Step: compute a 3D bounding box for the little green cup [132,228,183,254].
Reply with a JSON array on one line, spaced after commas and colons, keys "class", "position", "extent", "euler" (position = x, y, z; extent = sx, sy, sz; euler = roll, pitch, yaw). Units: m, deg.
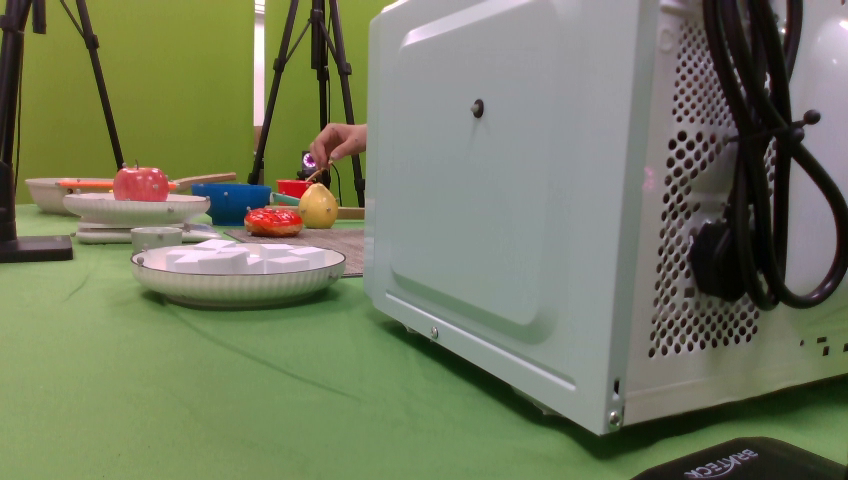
[{"class": "little green cup", "position": [-0.342, 0.006, 0.779], "extent": [0.061, 0.038, 0.061], "euler": [2, 8, 0]}]

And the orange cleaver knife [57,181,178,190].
[{"class": "orange cleaver knife", "position": [-0.600, -0.109, 1.189], "extent": [0.212, 0.012, 0.077], "euler": [-1, 11, -26]}]

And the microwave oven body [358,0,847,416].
[{"class": "microwave oven body", "position": [0.211, -0.047, 0.474], "extent": [0.444, 0.260, 0.324], "euler": [-1, 7, -28]}]

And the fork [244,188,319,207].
[{"class": "fork", "position": [-0.356, -0.105, 1.526], "extent": [0.208, 0.018, 0.028], "euler": [16, -5, -41]}]

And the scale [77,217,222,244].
[{"class": "scale", "position": [-0.434, -0.018, 0.963], "extent": [0.202, 0.031, 0.148], "euler": [-1, 8, -27]}]

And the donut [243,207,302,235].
[{"class": "donut", "position": [-0.261, -0.032, 1.043], "extent": [0.099, 0.048, 0.099], "euler": [4, 9, 0]}]

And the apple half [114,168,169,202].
[{"class": "apple half", "position": [-0.445, -0.075, 0.938], "extent": [0.081, 0.074, 0.053], "euler": [6, 11, 8]}]

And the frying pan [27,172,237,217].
[{"class": "frying pan", "position": [-0.624, -0.118, 1.387], "extent": [0.305, 0.102, 0.490], "euler": [8, 17, 32]}]

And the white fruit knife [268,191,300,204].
[{"class": "white fruit knife", "position": [-0.364, -0.105, 1.464], "extent": [0.208, 0.027, 0.016], "euler": [15, -1, -34]}]

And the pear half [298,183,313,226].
[{"class": "pear half", "position": [-0.235, -0.071, 1.207], "extent": [0.031, 0.088, 0.070], "euler": [3, 10, 0]}]

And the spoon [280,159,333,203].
[{"class": "spoon", "position": [-0.316, -0.159, 1.640], "extent": [0.194, 0.022, 0.041], "euler": [-49, 32, -20]}]

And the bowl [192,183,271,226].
[{"class": "bowl", "position": [-0.382, -0.071, 1.202], "extent": [0.151, 0.077, 0.151], "euler": [3, 7, 0]}]

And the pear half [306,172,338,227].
[{"class": "pear half", "position": [-0.200, -0.079, 1.203], "extent": [0.056, 0.110, 0.076], "euler": [3, 11, 1]}]

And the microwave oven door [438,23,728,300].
[{"class": "microwave oven door", "position": [0.181, -0.073, 0.621], "extent": [0.358, 0.243, 0.039], "euler": [-2, 8, -29]}]

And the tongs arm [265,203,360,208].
[{"class": "tongs arm", "position": [-0.209, -0.071, 1.439], "extent": [0.389, 0.027, 0.028], "euler": [1, 1, -16]}]

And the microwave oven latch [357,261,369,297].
[{"class": "microwave oven latch", "position": [-0.019, 0.033, 0.530], "extent": [0.079, 0.029, 0.030], "euler": [-1, 7, -26]}]

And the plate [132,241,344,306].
[{"class": "plate", "position": [-0.187, 0.033, 0.625], "extent": [0.208, 0.039, 0.207], "euler": [2, 8, 0]}]

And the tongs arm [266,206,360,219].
[{"class": "tongs arm", "position": [-0.173, -0.061, 1.362], "extent": [0.387, 0.026, 0.050], "euler": [-1, 5, -31]}]

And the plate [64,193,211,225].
[{"class": "plate", "position": [-0.446, -0.050, 0.952], "extent": [0.209, 0.038, 0.209], "euler": [2, 7, 0]}]

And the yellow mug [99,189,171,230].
[{"class": "yellow mug", "position": [-0.519, -0.055, 1.080], "extent": [0.099, 0.064, 0.131], "euler": [7, 10, 26]}]

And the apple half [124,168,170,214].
[{"class": "apple half", "position": [-0.440, -0.080, 0.976], "extent": [0.081, 0.081, 0.033], "euler": [3, 10, 9]}]
